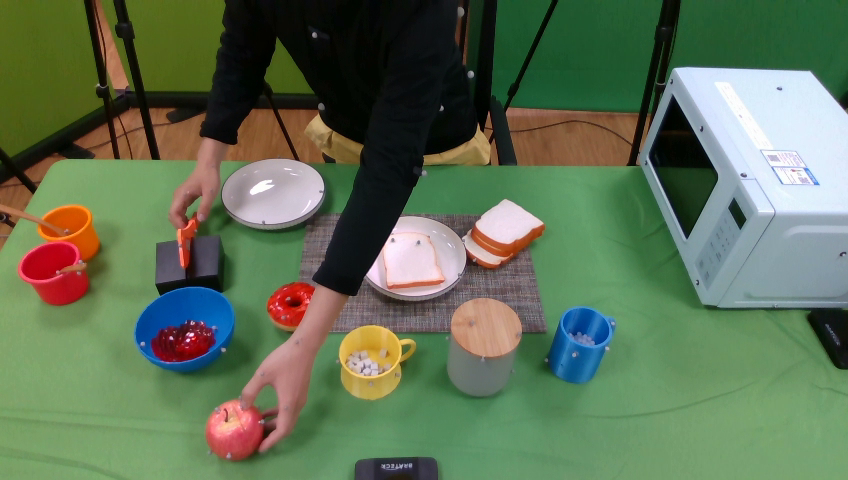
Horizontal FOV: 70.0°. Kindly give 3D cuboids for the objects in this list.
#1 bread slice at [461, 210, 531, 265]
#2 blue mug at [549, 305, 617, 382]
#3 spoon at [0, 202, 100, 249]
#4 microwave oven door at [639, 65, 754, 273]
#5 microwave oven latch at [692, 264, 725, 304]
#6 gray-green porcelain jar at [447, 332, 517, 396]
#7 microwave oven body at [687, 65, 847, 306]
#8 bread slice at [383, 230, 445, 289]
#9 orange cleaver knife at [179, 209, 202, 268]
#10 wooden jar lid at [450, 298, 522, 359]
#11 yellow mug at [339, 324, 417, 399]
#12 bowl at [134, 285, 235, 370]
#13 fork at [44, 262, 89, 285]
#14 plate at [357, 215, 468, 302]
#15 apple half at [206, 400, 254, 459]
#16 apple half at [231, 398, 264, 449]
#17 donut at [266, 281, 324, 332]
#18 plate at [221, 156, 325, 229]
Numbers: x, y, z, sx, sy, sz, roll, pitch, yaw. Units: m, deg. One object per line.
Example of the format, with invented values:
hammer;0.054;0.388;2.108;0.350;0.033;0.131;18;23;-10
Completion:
bread slice;0.134;-0.003;1.195;0.104;0.019;0.131;31;49;24
blue mug;0.269;0.165;0.998;0.116;0.106;0.082;-19;51;-21
spoon;-0.683;-0.031;1.088;0.021;0.195;0.041;-34;44;26
microwave oven door;0.522;-0.147;1.193;0.039;0.245;0.353;0;47;-3
microwave oven latch;0.522;0.081;1.115;0.030;0.029;0.078;2;46;-2
gray-green porcelain jar;0.090;0.178;0.960;0.106;0.127;0.105;2;46;-2
microwave oven body;0.669;-0.111;1.176;0.326;0.261;0.439;0;46;-3
bread slice;-0.028;0.035;1.145;0.107;0.018;0.133;-7;48;-12
orange cleaver knife;-0.432;-0.006;1.127;0.012;0.077;0.210;-5;18;-10
wooden jar lid;0.093;0.135;0.914;0.108;0.021;0.107;3;48;-3
yellow mug;-0.072;0.190;0.978;0.131;0.064;0.099;-17;50;-20
bowl;-0.377;0.155;0.981;0.151;0.077;0.150;2;46;-2
fork;-0.598;0.054;1.014;0.207;0.019;0.028;-15;28;45
plate;-0.022;0.037;1.141;0.208;0.039;0.206;2;46;-2
apple half;-0.284;0.279;0.873;0.053;0.075;0.080;-25;51;-21
apple half;-0.252;0.265;0.888;0.033;0.082;0.081;-25;53;-21
donut;-0.222;0.115;1.049;0.099;0.048;0.098;2;46;-2
plate;-0.308;-0.095;1.251;0.209;0.038;0.208;3;47;-3
